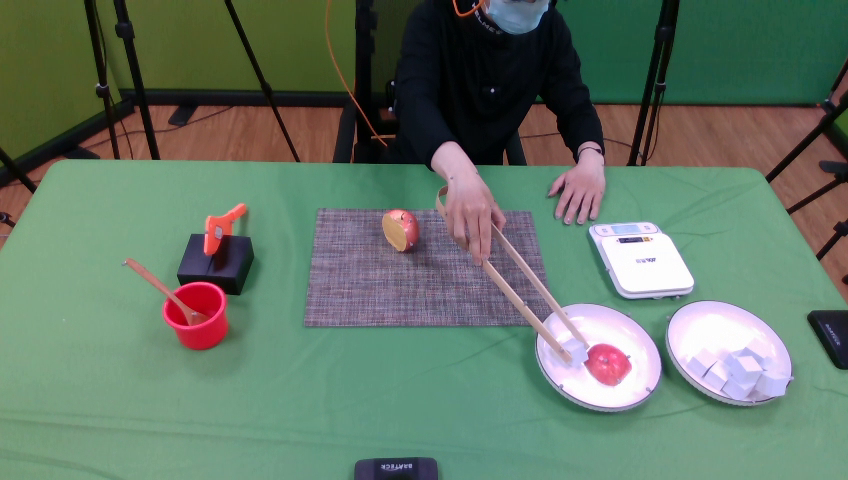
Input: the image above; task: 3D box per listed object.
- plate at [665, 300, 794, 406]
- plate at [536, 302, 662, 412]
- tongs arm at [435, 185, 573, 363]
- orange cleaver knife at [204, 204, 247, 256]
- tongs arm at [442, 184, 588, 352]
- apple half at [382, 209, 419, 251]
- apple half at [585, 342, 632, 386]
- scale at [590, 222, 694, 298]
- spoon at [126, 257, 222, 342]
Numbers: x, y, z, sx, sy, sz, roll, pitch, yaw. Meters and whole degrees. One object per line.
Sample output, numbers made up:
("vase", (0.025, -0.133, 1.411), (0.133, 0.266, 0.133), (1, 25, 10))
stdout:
("plate", (0.513, 0.194, 1.034), (0.208, 0.039, 0.206), (2, 46, -2))
("plate", (0.288, 0.197, 1.016), (0.209, 0.038, 0.208), (2, 46, -2))
("tongs arm", (0.136, 0.051, 1.060), (0.051, 0.026, 0.383), (-32, 69, -25))
("orange cleaver knife", (-0.374, -0.024, 1.146), (0.012, 0.077, 0.211), (4, 14, 1))
("tongs arm", (0.156, 0.040, 1.070), (0.028, 0.028, 0.385), (-30, 68, -21))
("apple half", (-0.039, -0.022, 1.175), (0.053, 0.075, 0.080), (-27, 50, -31))
("apple half", (0.309, 0.198, 1.008), (0.081, 0.033, 0.081), (4, 48, -4))
("scale", (0.424, 0.031, 1.189), (0.149, 0.032, 0.199), (-3, 46, -7))
("spoon", (-0.408, 0.096, 0.990), (0.194, 0.021, 0.041), (50, 53, -18))
